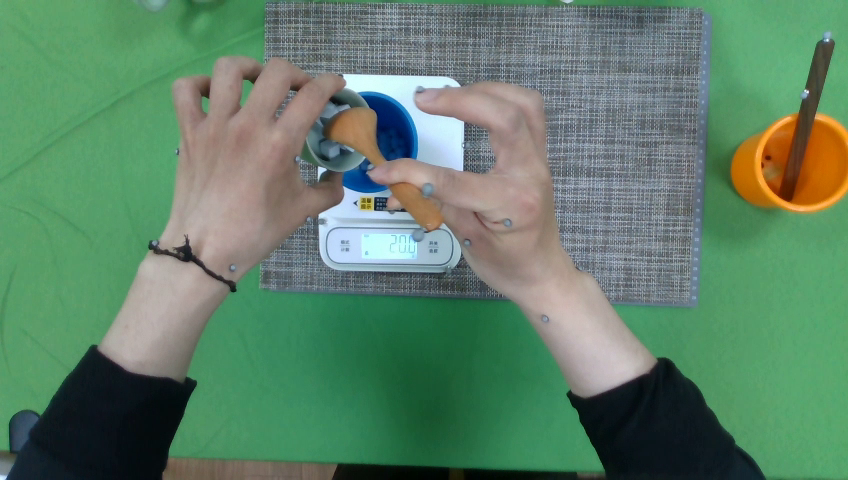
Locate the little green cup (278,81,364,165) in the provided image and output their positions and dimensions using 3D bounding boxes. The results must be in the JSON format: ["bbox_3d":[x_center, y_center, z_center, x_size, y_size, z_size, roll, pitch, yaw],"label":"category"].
[{"bbox_3d":[-0.077,-0.088,0.454,0.038,0.062,0.061,14,94,41],"label":"little green cup"}]

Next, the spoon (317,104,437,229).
[{"bbox_3d":[-0.029,-0.051,0.371,0.041,0.191,0.022,-28,128,-8],"label":"spoon"}]

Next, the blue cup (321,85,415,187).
[{"bbox_3d":[-0.046,-0.090,0.553,0.092,0.100,0.092,0,95,3],"label":"blue cup"}]

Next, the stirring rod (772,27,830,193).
[{"bbox_3d":[0.340,-0.110,0.550,0.014,0.005,0.178,-12,134,5],"label":"stirring rod"}]

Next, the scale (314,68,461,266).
[{"bbox_3d":[-0.038,-0.073,0.618,0.148,0.031,0.201,1,93,3],"label":"scale"}]

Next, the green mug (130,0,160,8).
[{"bbox_3d":[-0.246,-0.281,0.586,0.092,0.105,0.125,37,94,1],"label":"green mug"}]
